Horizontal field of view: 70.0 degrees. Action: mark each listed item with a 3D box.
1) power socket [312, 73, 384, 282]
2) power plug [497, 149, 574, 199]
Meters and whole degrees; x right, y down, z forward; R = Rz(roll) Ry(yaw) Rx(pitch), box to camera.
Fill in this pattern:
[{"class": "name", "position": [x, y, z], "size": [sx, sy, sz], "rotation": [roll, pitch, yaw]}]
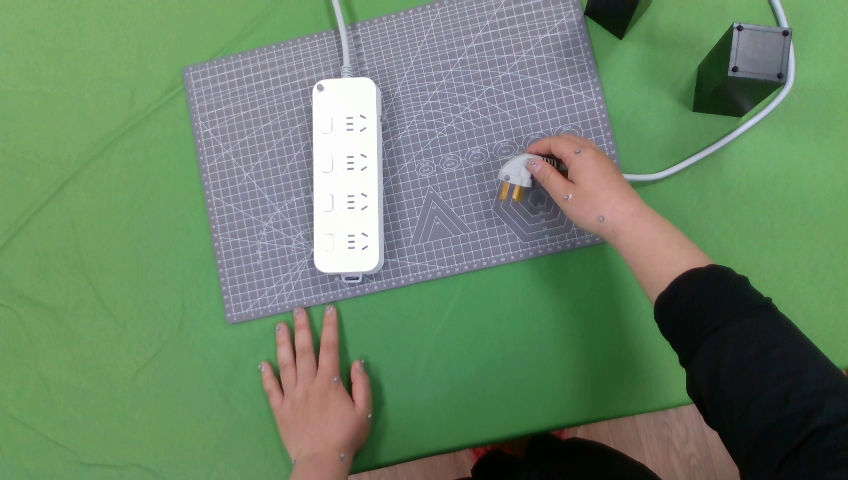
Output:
[{"class": "power socket", "position": [-0.081, -0.069, 0.649], "size": [0.072, 0.033, 0.226], "rotation": [-2, 85, 6]}, {"class": "power plug", "position": [0.109, -0.062, 0.603], "size": [0.072, 0.035, 0.053], "rotation": [15, 110, 3]}]
